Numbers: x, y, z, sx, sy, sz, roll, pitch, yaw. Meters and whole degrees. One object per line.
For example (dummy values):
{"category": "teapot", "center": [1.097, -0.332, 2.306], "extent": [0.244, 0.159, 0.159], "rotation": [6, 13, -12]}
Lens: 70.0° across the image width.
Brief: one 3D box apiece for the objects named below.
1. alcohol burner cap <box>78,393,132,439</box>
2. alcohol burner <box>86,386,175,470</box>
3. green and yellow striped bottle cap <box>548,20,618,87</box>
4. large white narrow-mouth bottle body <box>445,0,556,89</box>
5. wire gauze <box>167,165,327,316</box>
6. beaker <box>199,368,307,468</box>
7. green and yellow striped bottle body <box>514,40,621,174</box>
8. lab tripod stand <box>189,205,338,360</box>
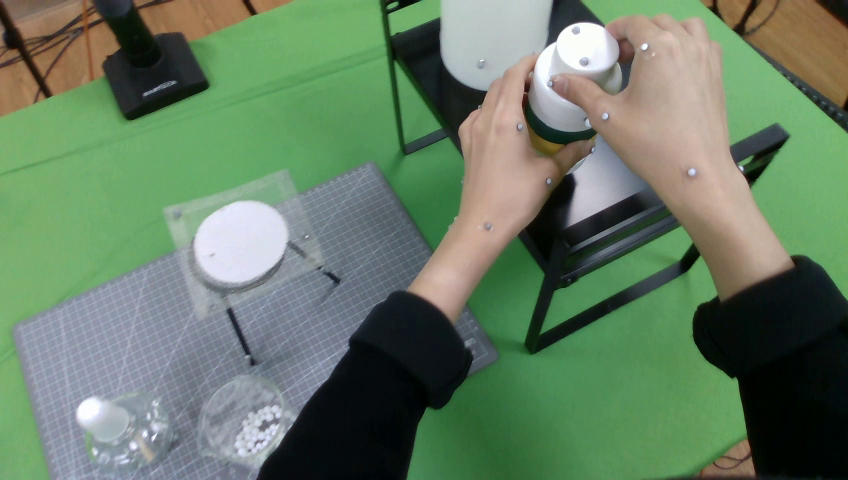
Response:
{"category": "alcohol burner cap", "center": [-0.283, 0.152, 0.532], "extent": [0.034, 0.048, 0.033], "rotation": [-1, 55, 2]}
{"category": "alcohol burner", "center": [-0.281, 0.170, 0.563], "extent": [0.078, 0.120, 0.077], "rotation": [0, 60, 1]}
{"category": "green and yellow striped bottle cap", "center": [0.109, -0.128, 0.414], "extent": [0.045, 0.020, 0.045], "rotation": [1, 66, -3]}
{"category": "large white narrow-mouth bottle body", "center": [0.067, -0.229, 0.515], "extent": [0.102, 0.196, 0.101], "rotation": [-1, 60, 2]}
{"category": "wire gauze", "center": [-0.165, -0.006, 0.563], "extent": [0.121, 0.011, 0.124], "rotation": [-21, 64, -11]}
{"category": "beaker", "center": [-0.156, 0.173, 0.566], "extent": [0.084, 0.101, 0.073], "rotation": [-38, 66, -15]}
{"category": "green and yellow striped bottle body", "center": [0.108, -0.106, 0.461], "extent": [0.063, 0.120, 0.062], "rotation": [0, 66, -1]}
{"category": "lab tripod stand", "center": [-0.168, 0.033, 0.620], "extent": [0.148, 0.132, 0.147], "rotation": [0, 60, 1]}
